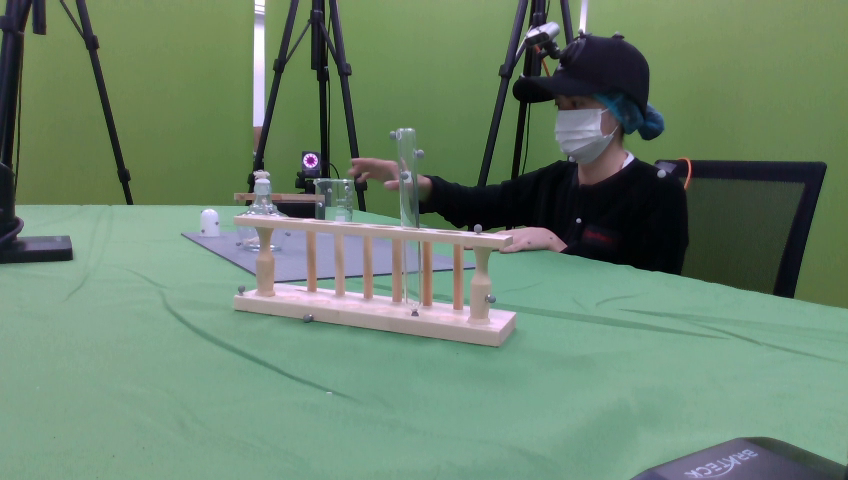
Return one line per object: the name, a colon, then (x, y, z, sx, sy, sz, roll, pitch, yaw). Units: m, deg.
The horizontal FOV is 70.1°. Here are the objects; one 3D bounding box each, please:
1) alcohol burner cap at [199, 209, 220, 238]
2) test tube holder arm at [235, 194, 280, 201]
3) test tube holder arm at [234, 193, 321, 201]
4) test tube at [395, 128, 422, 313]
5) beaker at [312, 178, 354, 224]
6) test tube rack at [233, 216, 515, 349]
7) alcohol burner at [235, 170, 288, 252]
alcohol burner cap: (-0.356, -0.027, 1.002, 0.034, 0.048, 0.034, 2, 7, 0)
test tube holder arm: (-0.336, -0.086, 1.221, 0.088, 0.015, 0.010, -1, 16, -29)
test tube holder arm: (-0.299, -0.088, 1.248, 0.179, 0.015, 0.013, -1, 16, -30)
test tube: (-0.012, -0.015, 0.491, 0.017, 0.150, 0.017, -2, 5, 1)
beaker: (-0.173, -0.065, 1.140, 0.084, 0.100, 0.073, -5, 10, -41)
test tube rack: (-0.045, 0.029, 0.526, 0.241, 0.085, 0.067, 5, 8, 19)
alcohol burner: (-0.236, -0.042, 0.882, 0.078, 0.119, 0.078, 2, 9, 0)
